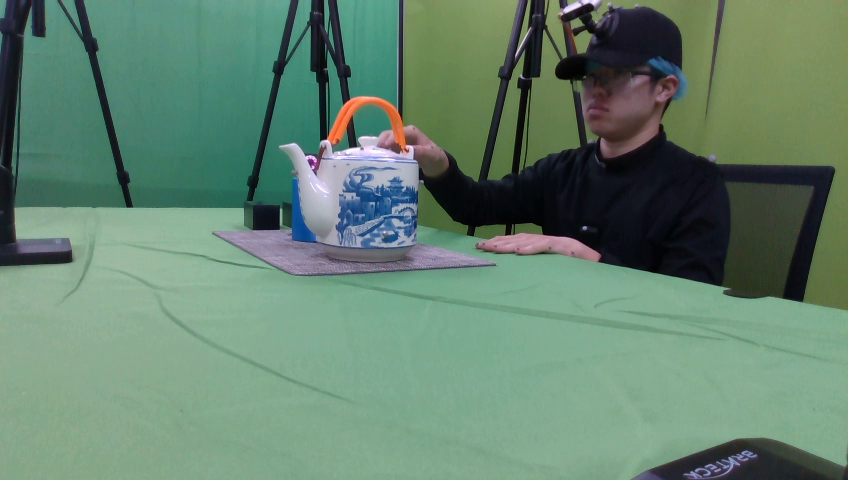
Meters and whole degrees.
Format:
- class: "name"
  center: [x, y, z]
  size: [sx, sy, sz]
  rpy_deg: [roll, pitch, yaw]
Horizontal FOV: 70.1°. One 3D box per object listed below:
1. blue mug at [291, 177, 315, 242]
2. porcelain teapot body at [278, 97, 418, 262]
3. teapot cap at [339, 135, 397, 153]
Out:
- class: "blue mug"
  center: [-0.170, -0.054, 1.037]
  size: [0.117, 0.106, 0.082]
  rpy_deg: [-2, 9, -31]
- class: "porcelain teapot body"
  center: [-0.104, -0.086, 0.842]
  size: [0.206, 0.225, 0.144]
  rpy_deg: [-4, 10, -38]
- class: "teapot cap"
  center: [-0.080, -0.126, 0.853]
  size: [0.085, 0.044, 0.085]
  rpy_deg: [-1, 5, 0]
